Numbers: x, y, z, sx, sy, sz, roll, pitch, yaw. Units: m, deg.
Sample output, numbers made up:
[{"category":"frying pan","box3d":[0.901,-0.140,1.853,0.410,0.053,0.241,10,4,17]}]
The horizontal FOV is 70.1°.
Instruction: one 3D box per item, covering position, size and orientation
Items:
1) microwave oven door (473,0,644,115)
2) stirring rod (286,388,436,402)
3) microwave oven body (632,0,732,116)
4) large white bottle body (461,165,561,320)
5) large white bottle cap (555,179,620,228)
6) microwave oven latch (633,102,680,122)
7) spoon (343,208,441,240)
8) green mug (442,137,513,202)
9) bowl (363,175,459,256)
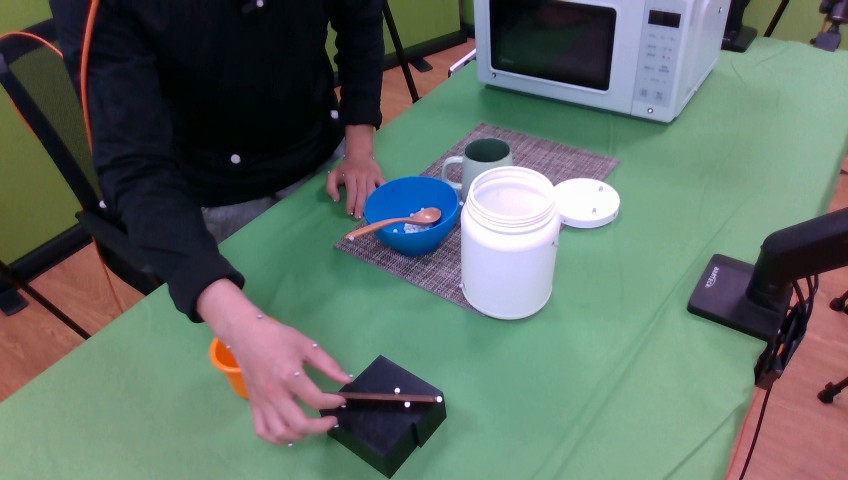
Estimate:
[{"category":"microwave oven door","box3d":[0.257,-0.396,1.199,0.353,0.245,0.039,21,48,29]},{"category":"stirring rod","box3d":[-0.074,0.178,0.696,0.176,0.006,0.014,2,-4,8]},{"category":"microwave oven body","box3d":[0.377,-0.462,1.267,0.438,0.261,0.327,21,48,30]},{"category":"large white bottle body","box3d":[0.115,0.004,0.816,0.130,0.185,0.130,-2,43,2]},{"category":"large white bottle cap","box3d":[0.265,-0.062,1.001,0.115,0.018,0.114,-3,41,3]},{"category":"microwave oven latch","box3d":[0.444,-0.249,1.157,0.078,0.029,0.030,21,49,30]},{"category":"spoon","box3d":[-0.046,-0.025,0.912,0.041,0.021,0.195,27,27,37]},{"category":"green mug","box3d":[0.091,-0.108,1.012,0.125,0.105,0.092,2,42,11]},{"category":"bowl","box3d":[-0.016,-0.028,0.955,0.151,0.077,0.150,-4,40,3]}]
